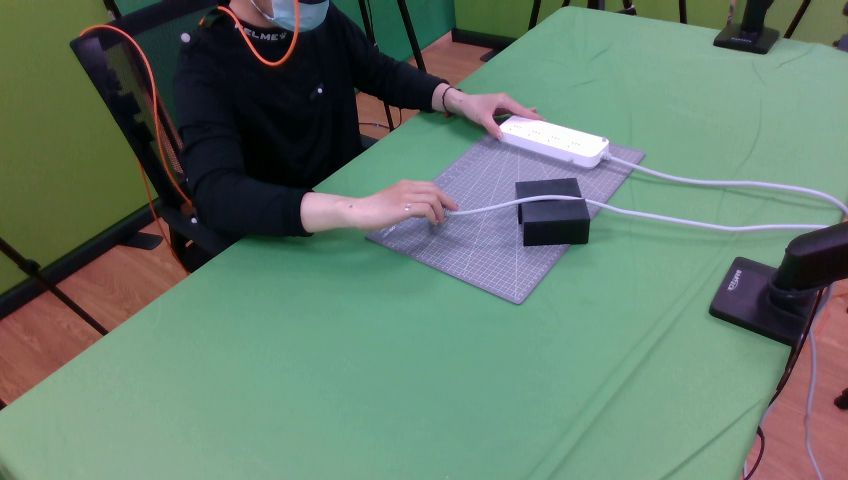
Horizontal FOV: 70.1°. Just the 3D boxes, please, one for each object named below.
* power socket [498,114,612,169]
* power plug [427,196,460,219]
[{"bbox_3d":[0.240,-0.189,1.142,0.225,0.033,0.072,25,51,32],"label":"power socket"},{"bbox_3d":[0.034,-0.044,0.999,0.035,0.053,0.072,-49,65,11],"label":"power plug"}]
